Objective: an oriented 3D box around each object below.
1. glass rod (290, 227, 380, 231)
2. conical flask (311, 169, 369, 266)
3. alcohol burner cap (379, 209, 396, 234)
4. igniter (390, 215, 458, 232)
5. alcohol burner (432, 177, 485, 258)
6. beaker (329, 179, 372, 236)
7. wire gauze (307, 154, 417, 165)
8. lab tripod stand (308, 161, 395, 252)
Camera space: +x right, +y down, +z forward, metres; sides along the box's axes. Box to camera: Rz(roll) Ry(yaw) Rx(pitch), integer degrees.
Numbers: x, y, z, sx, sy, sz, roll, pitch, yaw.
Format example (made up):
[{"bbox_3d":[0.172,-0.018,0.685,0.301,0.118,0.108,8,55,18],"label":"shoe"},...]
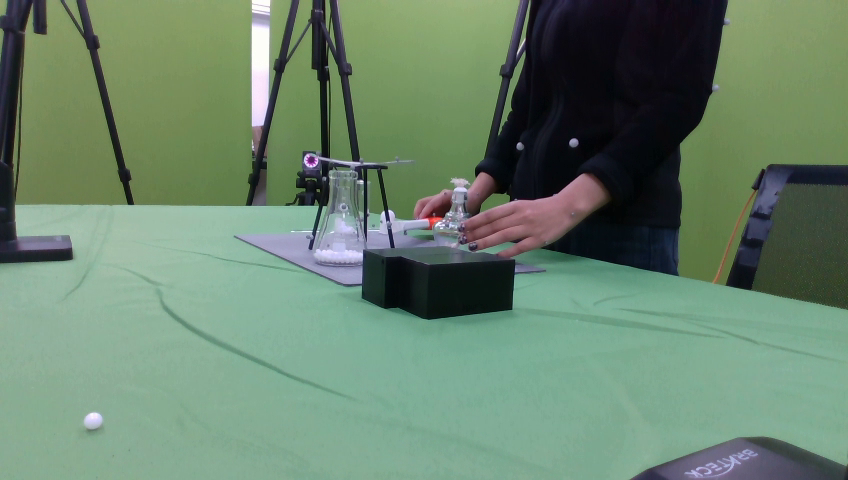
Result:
[{"bbox_3d":[-0.161,-0.023,1.177,0.201,0.008,0.008,-1,8,-28],"label":"glass rod"},{"bbox_3d":[-0.107,-0.031,0.786,0.075,0.122,0.075,2,8,0],"label":"conical flask"},{"bbox_3d":[-0.069,-0.036,1.154,0.034,0.048,0.034,1,7,0],"label":"alcohol burner cap"},{"bbox_3d":[0.004,-0.031,1.083,0.057,0.025,0.277,-5,2,21],"label":"igniter"},{"bbox_3d":[0.052,-0.033,0.894,0.078,0.119,0.078,2,10,0],"label":"alcohol burner"},{"bbox_3d":[-0.137,-0.061,1.101,0.084,0.100,0.074,4,7,20],"label":"beaker"},{"bbox_3d":[-0.094,-0.120,0.913,0.122,0.011,0.124,-5,11,-45],"label":"wire gauze"},{"bbox_3d":[-0.098,-0.053,0.919,0.148,0.131,0.148,4,7,0],"label":"lab tripod stand"}]
